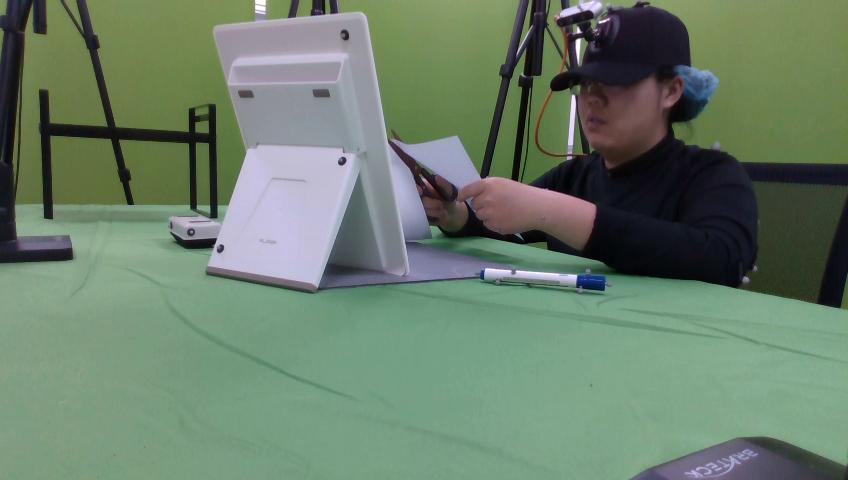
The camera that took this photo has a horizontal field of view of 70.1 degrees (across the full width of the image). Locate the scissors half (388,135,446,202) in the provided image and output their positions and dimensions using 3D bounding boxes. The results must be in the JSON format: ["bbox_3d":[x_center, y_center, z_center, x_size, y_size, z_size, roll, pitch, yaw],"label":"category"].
[{"bbox_3d":[-0.010,-0.118,0.994,0.012,0.040,0.176,2,-26,38],"label":"scissors half"}]

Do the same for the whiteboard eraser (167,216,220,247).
[{"bbox_3d":[-0.350,-0.013,0.920,0.056,0.042,0.112,0,7,-35],"label":"whiteboard eraser"}]

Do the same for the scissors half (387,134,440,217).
[{"bbox_3d":[-0.017,-0.102,0.985,0.013,0.176,0.040,-3,43,35],"label":"scissors half"}]

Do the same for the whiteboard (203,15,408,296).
[{"bbox_3d":[-0.166,-0.072,0.669,0.216,0.305,0.144,8,30,30],"label":"whiteboard"}]

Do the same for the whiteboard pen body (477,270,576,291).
[{"bbox_3d":[0.131,0.048,0.706,0.140,0.017,0.017,4,8,17],"label":"whiteboard pen body"}]

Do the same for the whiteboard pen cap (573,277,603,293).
[{"bbox_3d":[0.186,0.051,0.687,0.033,0.018,0.018,4,8,17],"label":"whiteboard pen cap"}]
